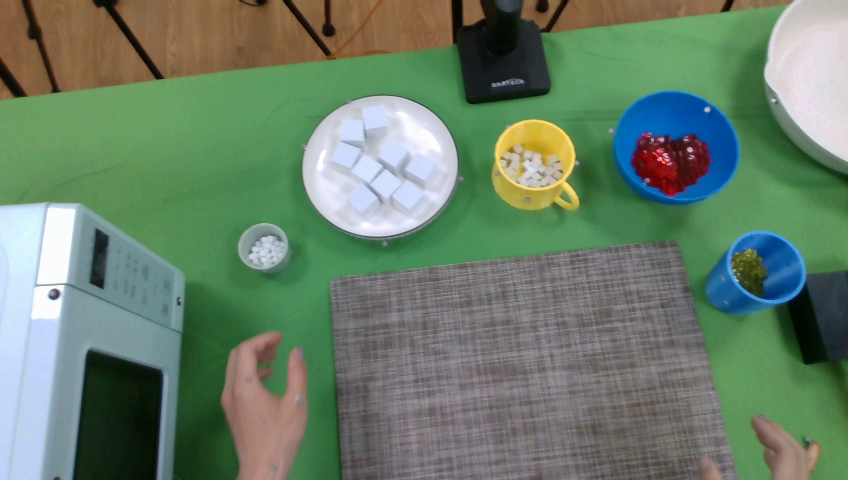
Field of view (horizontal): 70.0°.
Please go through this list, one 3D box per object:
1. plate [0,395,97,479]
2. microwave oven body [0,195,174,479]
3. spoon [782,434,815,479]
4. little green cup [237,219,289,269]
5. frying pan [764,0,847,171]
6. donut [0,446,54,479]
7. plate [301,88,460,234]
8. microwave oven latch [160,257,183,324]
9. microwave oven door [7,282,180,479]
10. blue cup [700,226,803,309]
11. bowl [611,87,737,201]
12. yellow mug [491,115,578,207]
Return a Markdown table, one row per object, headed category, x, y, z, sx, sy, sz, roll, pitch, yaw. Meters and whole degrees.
| category | x | y | z | sx | sy | sz | roll | pitch | yaw |
| --- | --- | --- | --- | --- | --- | --- | --- | --- | --- |
| plate | -0.443 | 0.270 | 0.635 | 0.209 | 0.038 | 0.208 | 0 | 74 | 1 |
| microwave oven body | -0.458 | 0.208 | 0.600 | 0.326 | 0.261 | 0.439 | -3 | 73 | 0 |
| spoon | 0.389 | 0.297 | 0.674 | 0.041 | 0.022 | 0.193 | 34 | 76 | 24 |
| little green cup | -0.203 | 0.008 | 0.775 | 0.061 | 0.039 | 0.061 | 0 | 73 | 1 |
| frying pan | 0.591 | -0.118 | 0.755 | 0.307 | 0.103 | 0.484 | -2 | 64 | 2 |
| donut | -0.432 | 0.263 | 0.623 | 0.099 | 0.048 | 0.098 | 0 | 74 | -1 |
| plate | -0.056 | -0.103 | 0.807 | 0.207 | 0.039 | 0.206 | -1 | 72 | 2 |
| microwave oven latch | -0.316 | 0.062 | 0.743 | 0.030 | 0.029 | 0.078 | -1 | 73 | 1 |
| microwave oven door | -0.311 | 0.239 | 0.580 | 0.039 | 0.245 | 0.353 | -4 | 72 | 1 |
| blue cup | 0.375 | 0.041 | 0.714 | 0.092 | 0.101 | 0.092 | 0 | 70 | 1 |
| bowl | 0.308 | -0.110 | 0.777 | 0.151 | 0.077 | 0.150 | -1 | 73 | 2 |
| yellow mug | 0.149 | -0.091 | 0.782 | 0.100 | 0.064 | 0.130 | -42 | 77 | -11 |
